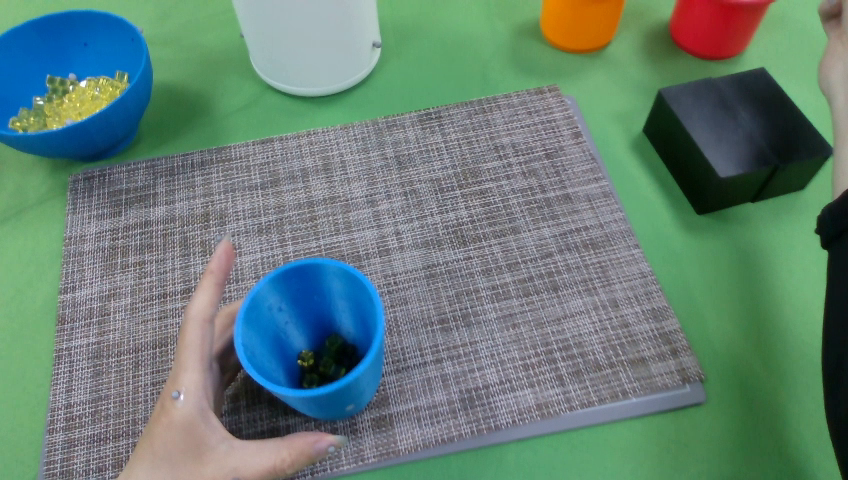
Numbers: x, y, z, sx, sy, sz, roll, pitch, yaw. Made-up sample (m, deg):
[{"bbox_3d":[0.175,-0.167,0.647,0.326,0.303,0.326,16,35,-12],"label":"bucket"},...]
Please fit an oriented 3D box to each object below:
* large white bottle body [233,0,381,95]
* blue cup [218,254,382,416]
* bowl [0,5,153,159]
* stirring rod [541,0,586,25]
[{"bbox_3d":[-0.108,-0.237,0.532,0.130,0.186,0.129,0,58,1],"label":"large white bottle body"},{"bbox_3d":[-0.065,0.070,0.386,0.092,0.101,0.092,-1,60,2],"label":"blue cup"},{"bbox_3d":[-0.302,-0.124,0.527,0.151,0.077,0.150,0,58,1],"label":"bowl"},{"bbox_3d":[0.184,-0.248,0.563,0.175,0.006,0.014,-21,48,39],"label":"stirring rod"}]
